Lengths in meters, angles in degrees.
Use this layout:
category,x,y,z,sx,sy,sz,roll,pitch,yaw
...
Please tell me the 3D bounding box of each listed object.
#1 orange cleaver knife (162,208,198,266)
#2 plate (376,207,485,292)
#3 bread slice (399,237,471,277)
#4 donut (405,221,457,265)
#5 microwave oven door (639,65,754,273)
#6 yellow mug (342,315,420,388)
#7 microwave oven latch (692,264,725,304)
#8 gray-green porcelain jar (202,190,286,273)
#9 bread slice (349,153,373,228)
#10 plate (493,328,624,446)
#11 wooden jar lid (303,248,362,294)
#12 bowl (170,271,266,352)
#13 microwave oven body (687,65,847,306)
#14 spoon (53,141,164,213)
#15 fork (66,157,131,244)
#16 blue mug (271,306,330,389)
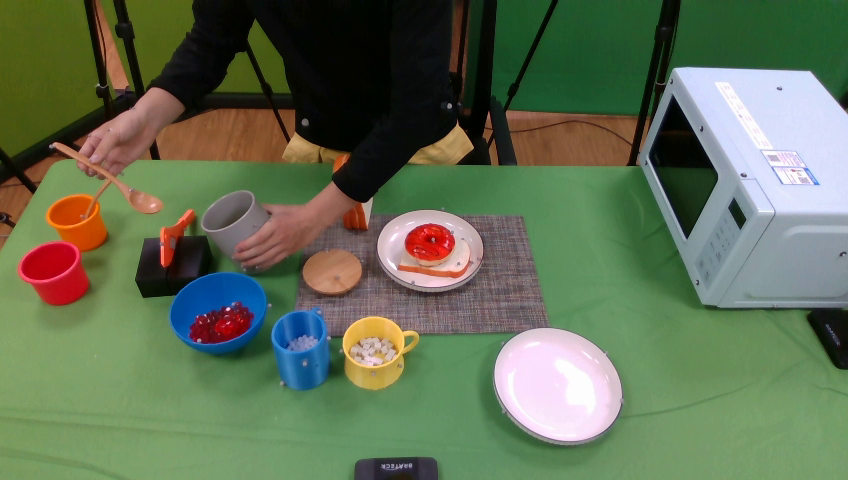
category,x,y,z,sx,sy,sz,roll,pitch,yaw
orange cleaver knife,-0.453,-0.010,1.129,0.012,0.077,0.210,0,17,-6
plate,0.012,0.021,1.159,0.209,0.038,0.208,2,47,-2
bread slice,0.025,0.025,1.161,0.131,0.019,0.104,7,47,8
donut,0.013,0.004,1.136,0.099,0.048,0.098,0,46,0
microwave oven door,0.522,-0.147,1.192,0.039,0.245,0.353,0,47,-3
yellow mug,-0.068,0.177,0.990,0.131,0.064,0.099,-15,50,-19
microwave oven latch,0.522,0.081,1.115,0.030,0.029,0.078,1,46,-2
gray-green porcelain jar,-0.319,-0.011,1.096,0.106,0.127,0.105,-15,42,15
bread slice,-0.125,-0.104,1.207,0.018,0.135,0.106,-1,48,7
plate,0.213,0.236,0.974,0.208,0.039,0.206,2,46,-2
wooden jar lid,-0.169,0.059,1.122,0.108,0.021,0.107,3,46,-2
bowl,-0.333,0.132,1.006,0.151,0.077,0.150,2,46,-2
microwave oven body,0.669,-0.111,1.176,0.326,0.261,0.439,0,46,-3
spoon,-0.510,-0.103,0.981,0.194,0.021,0.041,37,44,-11
fork,-0.609,-0.074,1.132,0.207,0.019,0.028,-52,50,10
blue mug,-0.188,0.163,0.969,0.082,0.106,0.116,15,47,10
